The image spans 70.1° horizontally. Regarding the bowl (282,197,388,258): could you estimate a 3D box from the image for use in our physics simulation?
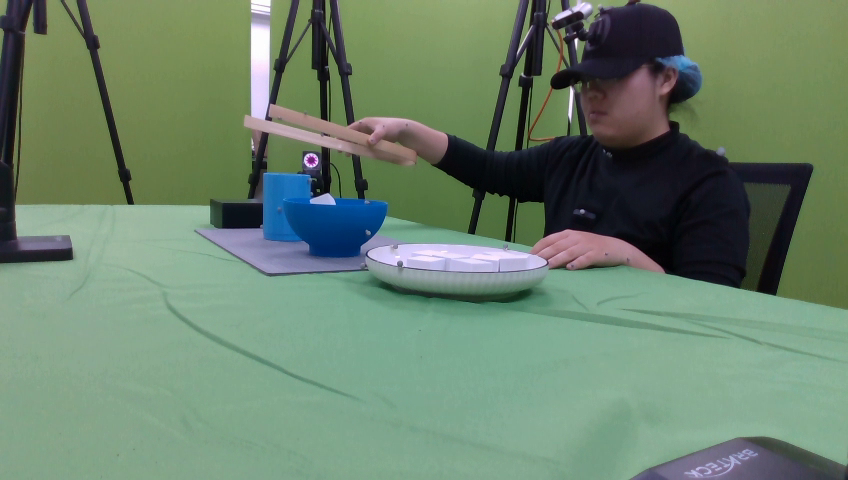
[{"bbox_3d":[-0.128,-0.018,0.869,0.151,0.077,0.151,2,7,0],"label":"bowl"}]

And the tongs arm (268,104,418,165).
[{"bbox_3d":[-0.156,-0.214,1.261,0.387,0.026,0.050,10,-9,-40],"label":"tongs arm"}]

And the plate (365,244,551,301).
[{"bbox_3d":[0.038,0.035,0.685,0.209,0.038,0.209,2,7,0],"label":"plate"}]

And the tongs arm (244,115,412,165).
[{"bbox_3d":[-0.195,-0.212,1.311,0.390,0.027,0.028,9,-12,-32],"label":"tongs arm"}]

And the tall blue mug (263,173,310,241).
[{"bbox_3d":[-0.233,-0.058,1.019,0.078,0.108,0.107,-1,8,-19],"label":"tall blue mug"}]
